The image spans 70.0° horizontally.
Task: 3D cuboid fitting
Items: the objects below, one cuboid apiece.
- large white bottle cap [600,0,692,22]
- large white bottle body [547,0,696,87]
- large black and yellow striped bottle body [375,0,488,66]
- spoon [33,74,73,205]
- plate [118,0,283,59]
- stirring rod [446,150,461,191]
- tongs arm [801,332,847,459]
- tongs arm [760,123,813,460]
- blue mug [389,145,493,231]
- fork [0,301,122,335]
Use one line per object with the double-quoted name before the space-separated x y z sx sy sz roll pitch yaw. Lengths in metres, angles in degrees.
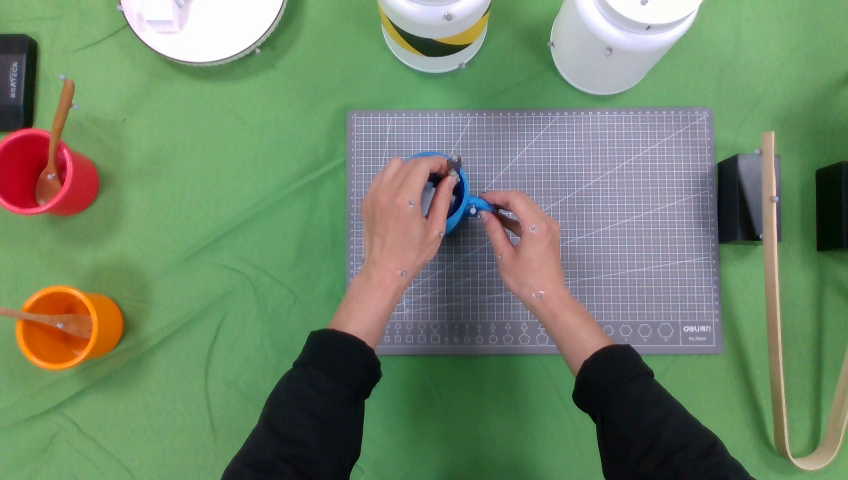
"large white bottle cap" 0.214 -0.266 0.579 0.115 0.018 0.114 0 85 0
"large white bottle body" 0.215 -0.258 0.662 0.130 0.185 0.130 0 86 0
"large black and yellow striped bottle body" 0.008 -0.285 0.666 0.131 0.184 0.130 0 85 1
"spoon" -0.412 -0.107 0.676 0.041 0.021 0.194 46 131 6
"plate" -0.268 -0.320 0.743 0.208 0.039 0.207 0 86 0
"stirring rod" 0.031 -0.070 0.632 0.014 0.176 0.006 -23 84 0
"tongs arm" 0.488 0.062 0.681 0.028 0.027 0.388 8 98 -7
"tongs arm" 0.406 0.062 0.679 0.051 0.026 0.385 -5 98 -3
"blue mug" 0.022 -0.052 0.687 0.116 0.106 0.082 13 86 1
"fork" -0.440 0.075 0.661 0.209 0.018 0.028 21 85 -41
